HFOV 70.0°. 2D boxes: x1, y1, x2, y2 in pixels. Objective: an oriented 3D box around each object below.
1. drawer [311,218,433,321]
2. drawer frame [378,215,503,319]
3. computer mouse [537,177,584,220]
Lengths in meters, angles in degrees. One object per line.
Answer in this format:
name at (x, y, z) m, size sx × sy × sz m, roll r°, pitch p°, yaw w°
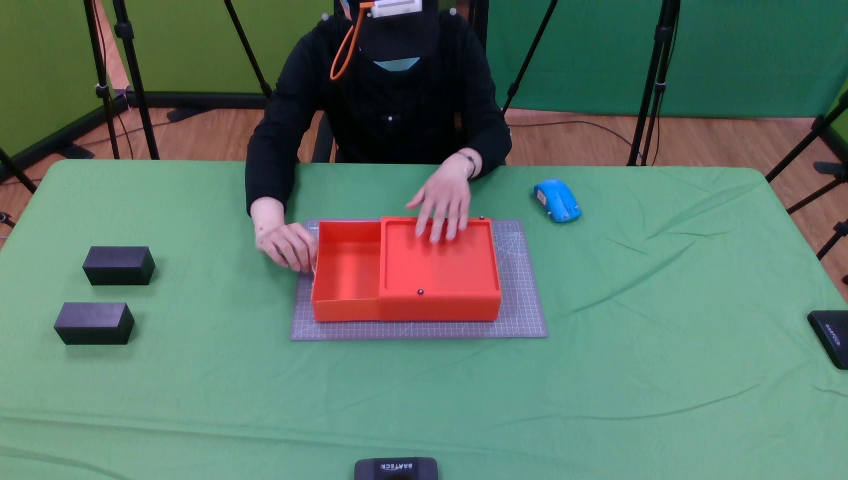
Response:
drawer at (-0.091, 0.049, 1.096) m, size 0.212 × 0.073 × 0.193 m, roll 0°, pitch 45°, yaw -3°
drawer frame at (0.024, 0.047, 1.103) m, size 0.214 × 0.083 × 0.200 m, roll 1°, pitch 46°, yaw -4°
computer mouse at (0.291, -0.093, 1.288) m, size 0.063 × 0.041 × 0.116 m, roll -13°, pitch 52°, yaw -18°
